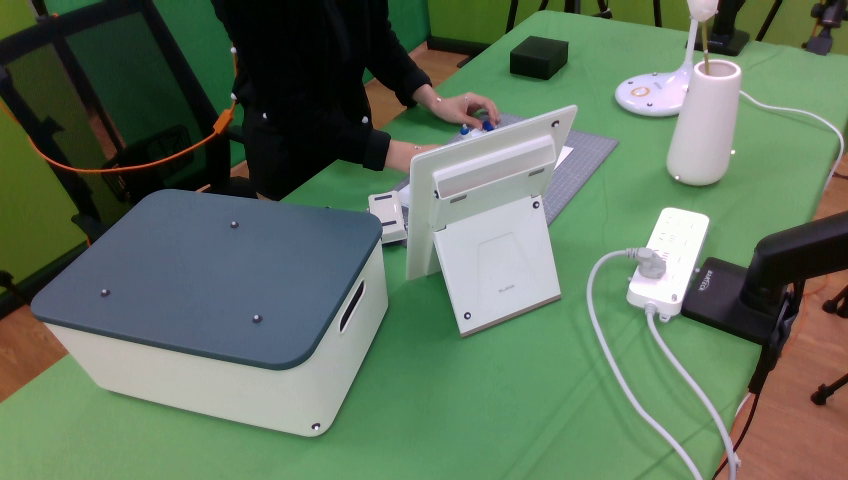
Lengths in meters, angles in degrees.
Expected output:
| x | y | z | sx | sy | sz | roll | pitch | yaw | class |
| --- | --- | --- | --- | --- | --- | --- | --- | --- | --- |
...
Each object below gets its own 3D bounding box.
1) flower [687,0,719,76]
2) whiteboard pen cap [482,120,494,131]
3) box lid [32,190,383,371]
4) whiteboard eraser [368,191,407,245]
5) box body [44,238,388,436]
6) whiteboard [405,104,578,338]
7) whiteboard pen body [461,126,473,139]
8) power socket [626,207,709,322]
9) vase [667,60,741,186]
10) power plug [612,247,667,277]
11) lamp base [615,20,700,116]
| x | y | z | sx | sy | sz | roll | pitch | yaw | class |
| --- | --- | --- | --- | --- | --- | --- | --- | --- | --- |
| 0.436 | -0.242 | 0.934 | 0.038 | 0.364 | 0.043 | -24 | 49 | 8 | flower |
| 0.131 | -0.228 | 1.223 | 0.018 | 0.018 | 0.033 | -15 | 49 | -9 | whiteboard pen cap |
| -0.257 | 0.032 | 0.750 | 0.370 | 0.015 | 0.263 | 7 | 42 | 16 | box lid |
| -0.061 | -0.035 | 1.006 | 0.056 | 0.042 | 0.112 | -9 | 40 | -3 | whiteboard eraser |
| -0.251 | 0.088 | 0.799 | 0.362 | 0.161 | 0.254 | 7 | 42 | 16 | box body |
| 0.102 | 0.003 | 0.787 | 0.218 | 0.306 | 0.143 | -19 | 62 | -14 | whiteboard |
| 0.092 | -0.143 | 1.033 | 0.017 | 0.142 | 0.017 | -13 | 53 | 18 | whiteboard pen body |
| 0.360 | 0.026 | 0.886 | 0.072 | 0.033 | 0.227 | 17 | 46 | 27 | power socket |
| 0.463 | -0.189 | 0.994 | 0.098 | 0.201 | 0.097 | -4 | 40 | 4 | vase |
| 0.306 | 0.031 | 0.852 | 0.072 | 0.053 | 0.035 | 21 | 48 | 37 | power plug |
| 0.484 | -0.364 | 1.211 | 0.180 | 0.181 | 0.159 | -15 | 41 | -14 | lamp base |
